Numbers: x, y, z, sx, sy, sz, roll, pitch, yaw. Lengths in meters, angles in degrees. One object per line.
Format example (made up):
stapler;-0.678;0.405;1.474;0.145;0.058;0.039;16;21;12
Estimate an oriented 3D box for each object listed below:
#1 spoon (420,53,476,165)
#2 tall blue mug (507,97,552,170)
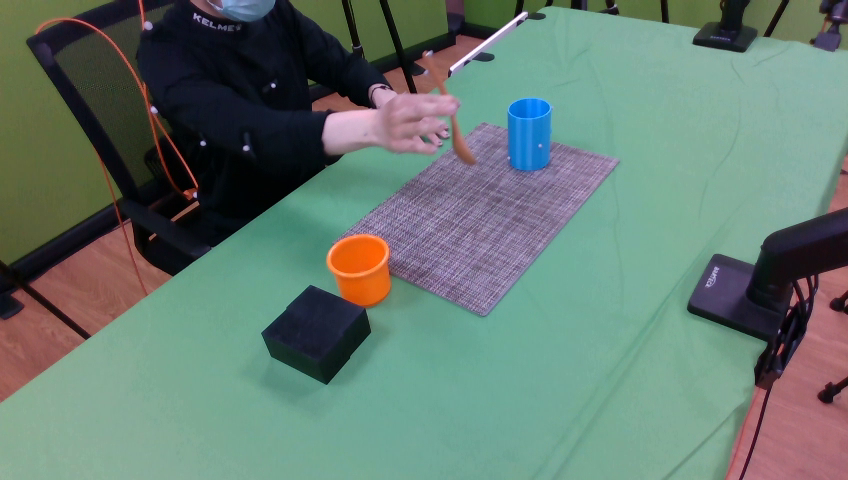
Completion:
spoon;0.035;-0.188;0.893;0.022;0.195;0.041;-37;34;-19
tall blue mug;0.179;-0.198;1.101;0.078;0.108;0.106;-36;49;-28
